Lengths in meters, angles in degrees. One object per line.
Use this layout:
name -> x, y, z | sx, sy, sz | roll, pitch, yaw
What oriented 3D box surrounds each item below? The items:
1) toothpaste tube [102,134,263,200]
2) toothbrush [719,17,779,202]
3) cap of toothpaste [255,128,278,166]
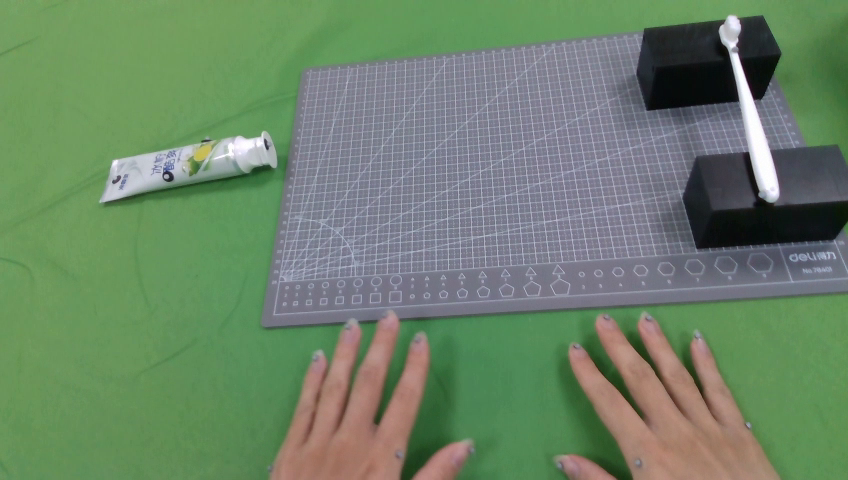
toothpaste tube -> -0.224, -0.074, 0.572 | 0.165, 0.035, 0.054 | -9, 50, 8
toothbrush -> 0.246, -0.105, 0.459 | 0.014, 0.017, 0.180 | 7, 59, -2
cap of toothpaste -> -0.146, -0.085, 0.559 | 0.011, 0.038, 0.037 | -12, 56, 3
